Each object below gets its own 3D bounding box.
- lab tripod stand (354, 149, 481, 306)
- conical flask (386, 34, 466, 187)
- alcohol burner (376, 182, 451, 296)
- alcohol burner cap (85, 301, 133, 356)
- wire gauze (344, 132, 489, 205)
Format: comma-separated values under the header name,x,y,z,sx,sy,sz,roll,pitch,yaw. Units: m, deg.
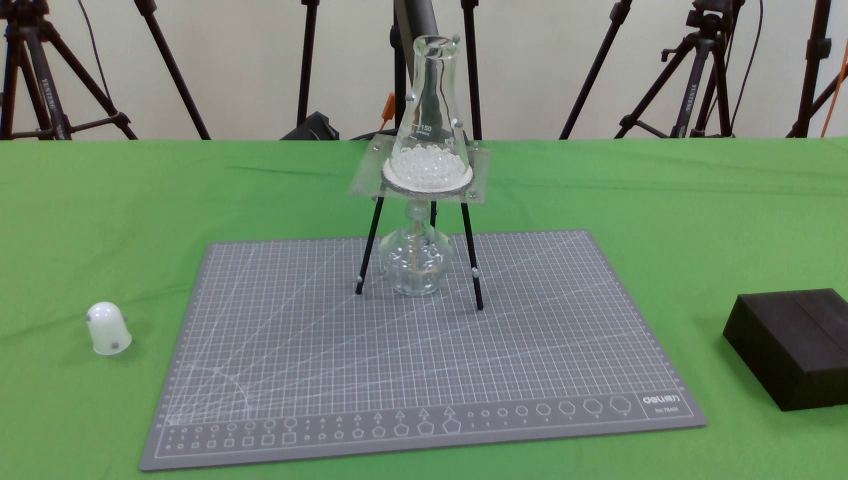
name,x,y,z,sx,sy,sz,roll,pitch,yaw
lab tripod stand,0.002,-0.013,0.608,0.148,0.132,0.147,4,34,-2
conical flask,0.005,-0.115,0.534,0.075,0.123,0.074,3,35,-2
alcohol burner,-0.010,-0.004,0.612,0.078,0.120,0.077,1,33,0
alcohol burner cap,-0.284,0.077,0.542,0.034,0.048,0.033,2,34,-1
wire gauze,-0.002,-0.067,0.570,0.121,0.011,0.124,6,37,5
